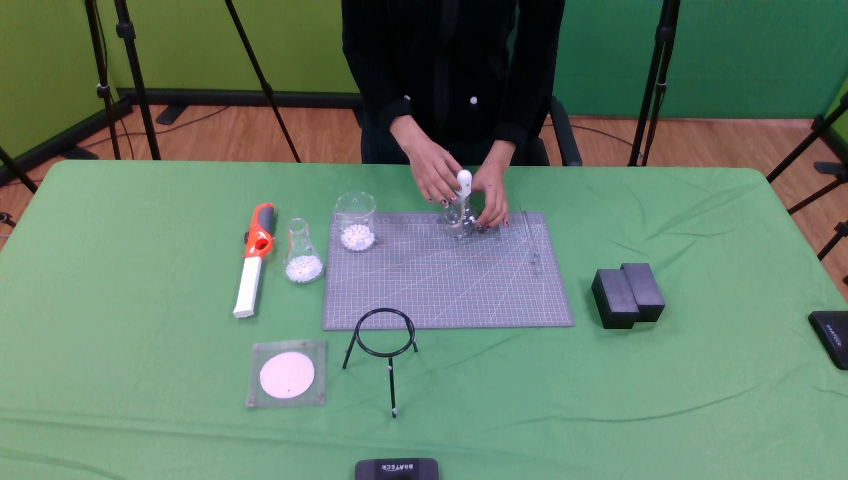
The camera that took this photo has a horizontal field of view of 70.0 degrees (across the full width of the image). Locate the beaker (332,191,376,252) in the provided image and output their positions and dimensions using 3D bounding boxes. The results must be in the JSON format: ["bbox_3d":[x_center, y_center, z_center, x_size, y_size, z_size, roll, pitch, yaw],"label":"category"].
[{"bbox_3d":[-0.133,-0.032,1.163,0.084,0.101,0.073,-18,50,-20],"label":"beaker"}]

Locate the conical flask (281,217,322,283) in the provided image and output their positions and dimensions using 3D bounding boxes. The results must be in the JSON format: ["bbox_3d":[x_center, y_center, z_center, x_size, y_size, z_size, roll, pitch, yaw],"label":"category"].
[{"bbox_3d":[-0.225,0.016,1.097,0.075,0.122,0.075,2,46,-2],"label":"conical flask"}]

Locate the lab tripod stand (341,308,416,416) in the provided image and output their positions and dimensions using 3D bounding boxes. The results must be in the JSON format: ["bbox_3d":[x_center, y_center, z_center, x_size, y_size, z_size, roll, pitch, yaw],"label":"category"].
[{"bbox_3d":[-0.061,0.177,0.946,0.148,0.132,0.147,2,44,-2],"label":"lab tripod stand"}]

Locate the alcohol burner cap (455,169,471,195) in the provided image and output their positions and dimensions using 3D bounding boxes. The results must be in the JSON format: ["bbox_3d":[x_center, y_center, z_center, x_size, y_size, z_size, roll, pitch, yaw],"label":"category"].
[{"bbox_3d":[0.074,-0.113,1.149,0.034,0.048,0.033,-2,45,2],"label":"alcohol burner cap"}]

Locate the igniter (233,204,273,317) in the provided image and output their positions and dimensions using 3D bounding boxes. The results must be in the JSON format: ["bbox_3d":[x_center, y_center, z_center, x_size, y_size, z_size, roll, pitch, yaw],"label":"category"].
[{"bbox_3d":[-0.321,0.029,1.142,0.057,0.025,0.274,-8,46,4],"label":"igniter"}]

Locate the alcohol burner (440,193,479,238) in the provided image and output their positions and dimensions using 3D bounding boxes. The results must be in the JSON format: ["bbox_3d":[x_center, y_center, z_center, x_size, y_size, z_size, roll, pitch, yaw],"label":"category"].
[{"bbox_3d":[0.072,-0.061,1.198,0.078,0.119,0.077,3,47,-3],"label":"alcohol burner"}]

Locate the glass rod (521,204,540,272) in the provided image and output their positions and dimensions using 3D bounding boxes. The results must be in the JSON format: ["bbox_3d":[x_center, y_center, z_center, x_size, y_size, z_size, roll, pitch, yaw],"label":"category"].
[{"bbox_3d":[0.215,-0.008,1.230,0.008,0.008,0.198,0,43,-3],"label":"glass rod"}]

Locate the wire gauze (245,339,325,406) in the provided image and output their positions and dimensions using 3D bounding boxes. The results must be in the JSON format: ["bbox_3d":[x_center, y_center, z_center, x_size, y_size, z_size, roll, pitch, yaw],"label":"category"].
[{"bbox_3d":[-0.224,0.214,0.984,0.125,0.011,0.120,-2,46,-5],"label":"wire gauze"}]
